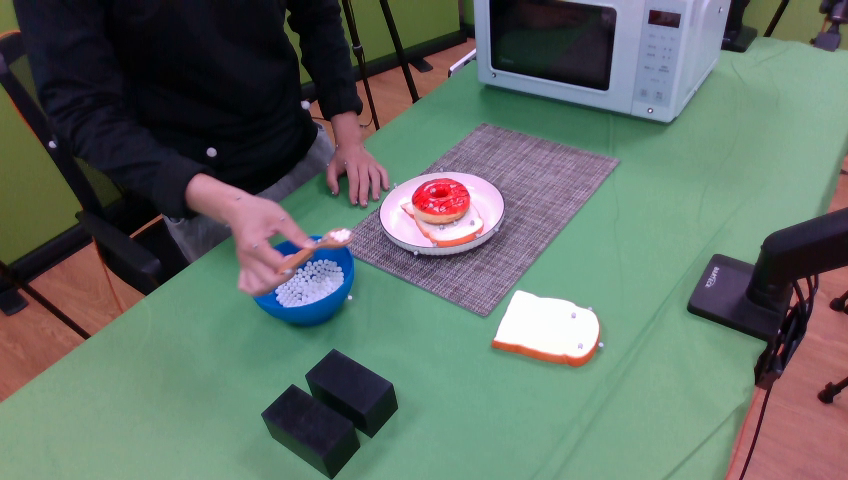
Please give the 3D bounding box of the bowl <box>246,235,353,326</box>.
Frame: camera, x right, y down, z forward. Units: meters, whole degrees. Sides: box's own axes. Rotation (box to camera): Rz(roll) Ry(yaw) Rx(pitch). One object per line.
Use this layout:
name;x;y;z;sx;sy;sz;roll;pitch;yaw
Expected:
bowl;-0.170;0.070;0.868;0.151;0.077;0.150;-4;41;4

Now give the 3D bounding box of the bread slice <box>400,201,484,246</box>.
bread slice;0.037;-0.038;0.990;0.107;0.018;0.133;-23;43;-17

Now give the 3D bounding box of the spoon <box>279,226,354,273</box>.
spoon;-0.138;0.010;0.774;0.041;0.021;0.194;11;14;13

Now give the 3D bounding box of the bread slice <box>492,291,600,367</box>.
bread slice;0.169;0.118;0.811;0.131;0.019;0.105;11;44;22

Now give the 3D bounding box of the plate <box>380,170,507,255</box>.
plate;0.033;-0.042;0.995;0.207;0.039;0.206;-4;40;4

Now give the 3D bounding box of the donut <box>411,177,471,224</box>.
donut;0.028;-0.064;0.978;0.099;0.048;0.098;-4;39;4

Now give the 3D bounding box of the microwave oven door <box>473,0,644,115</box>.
microwave oven door;0.257;-0.396;1.199;0.353;0.245;0.039;21;48;29

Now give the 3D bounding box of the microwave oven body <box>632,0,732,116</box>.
microwave oven body;0.377;-0.462;1.267;0.438;0.261;0.327;21;48;30

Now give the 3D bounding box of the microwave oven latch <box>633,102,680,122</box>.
microwave oven latch;0.444;-0.249;1.157;0.078;0.029;0.030;21;49;30
